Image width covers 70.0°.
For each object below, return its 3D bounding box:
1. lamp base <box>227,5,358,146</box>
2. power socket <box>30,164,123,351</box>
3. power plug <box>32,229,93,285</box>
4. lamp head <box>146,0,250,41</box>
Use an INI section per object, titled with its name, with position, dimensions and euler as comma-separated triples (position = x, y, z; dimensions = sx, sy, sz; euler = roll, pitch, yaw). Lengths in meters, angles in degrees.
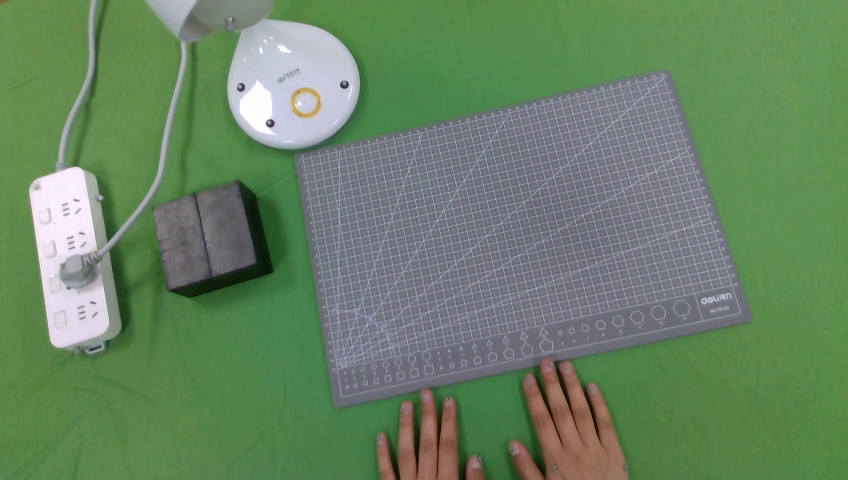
[lamp base]
position = -0.174, -0.216, 0.659
dimensions = 0.160, 0.181, 0.178
euler = -41, 74, -5
[power socket]
position = -0.402, 0.016, 0.700
dimensions = 0.072, 0.033, 0.225
euler = -17, 75, 0
[power plug]
position = -0.397, 0.018, 0.677
dimensions = 0.035, 0.053, 0.072
euler = -29, 68, -17
[lamp head]
position = -0.149, -0.203, 0.367
dimensions = 0.112, 0.112, 0.123
euler = -44, 100, -6
